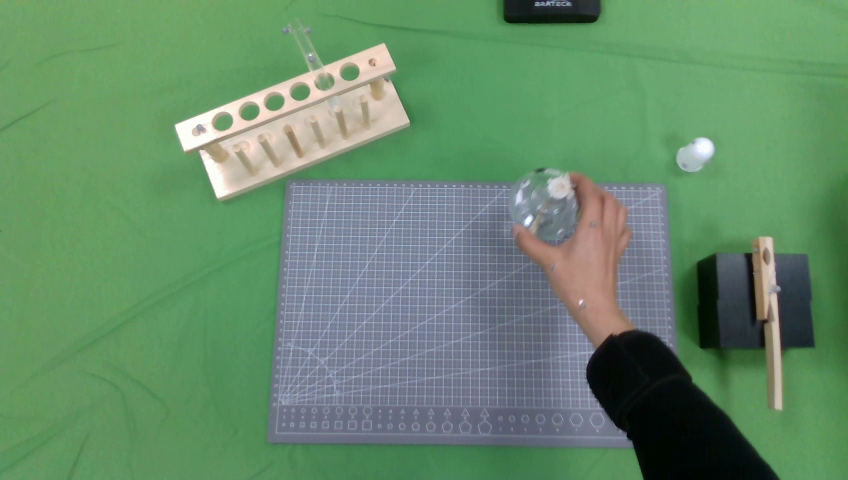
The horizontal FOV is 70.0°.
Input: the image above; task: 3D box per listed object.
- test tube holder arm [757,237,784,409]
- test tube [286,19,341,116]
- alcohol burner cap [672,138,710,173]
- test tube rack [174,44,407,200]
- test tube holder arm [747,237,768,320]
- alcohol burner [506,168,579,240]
[{"bbox_3d":[0.359,0.085,0.631,0.013,0.015,0.177,-1,79,0],"label":"test tube holder arm"},{"bbox_3d":[-0.114,-0.179,0.650,0.017,0.151,0.017,-3,67,8],"label":"test tube"},{"bbox_3d":[0.314,-0.101,0.708,0.034,0.048,0.033,0,77,1],"label":"alcohol burner cap"},{"bbox_3d":[-0.144,-0.132,0.692,0.242,0.085,0.066,-23,78,-5],"label":"test tube rack"},{"bbox_3d":[0.353,0.040,0.640,0.010,0.015,0.087,0,79,0],"label":"test tube holder arm"},{"bbox_3d":[0.125,-0.041,0.622,0.078,0.119,0.077,0,79,-1],"label":"alcohol burner"}]
